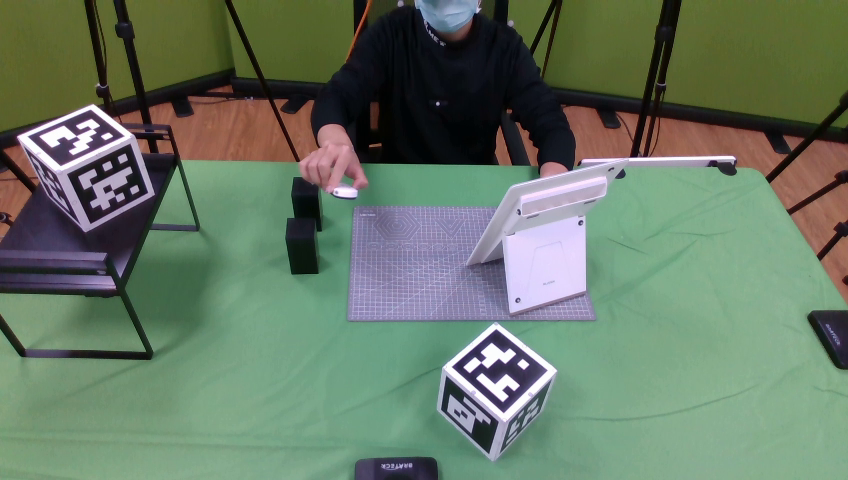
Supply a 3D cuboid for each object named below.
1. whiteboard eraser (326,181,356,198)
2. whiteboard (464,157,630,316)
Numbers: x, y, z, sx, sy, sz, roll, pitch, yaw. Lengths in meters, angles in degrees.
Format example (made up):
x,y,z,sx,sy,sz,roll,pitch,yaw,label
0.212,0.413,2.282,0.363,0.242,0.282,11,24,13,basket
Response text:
x,y,z,sx,sy,sz,roll,pitch,yaw,label
-0.149,-0.091,1.087,0.041,0.019,0.101,2,13,-21,whiteboard eraser
0.224,0.015,1.041,0.217,0.306,0.143,-14,68,-17,whiteboard
